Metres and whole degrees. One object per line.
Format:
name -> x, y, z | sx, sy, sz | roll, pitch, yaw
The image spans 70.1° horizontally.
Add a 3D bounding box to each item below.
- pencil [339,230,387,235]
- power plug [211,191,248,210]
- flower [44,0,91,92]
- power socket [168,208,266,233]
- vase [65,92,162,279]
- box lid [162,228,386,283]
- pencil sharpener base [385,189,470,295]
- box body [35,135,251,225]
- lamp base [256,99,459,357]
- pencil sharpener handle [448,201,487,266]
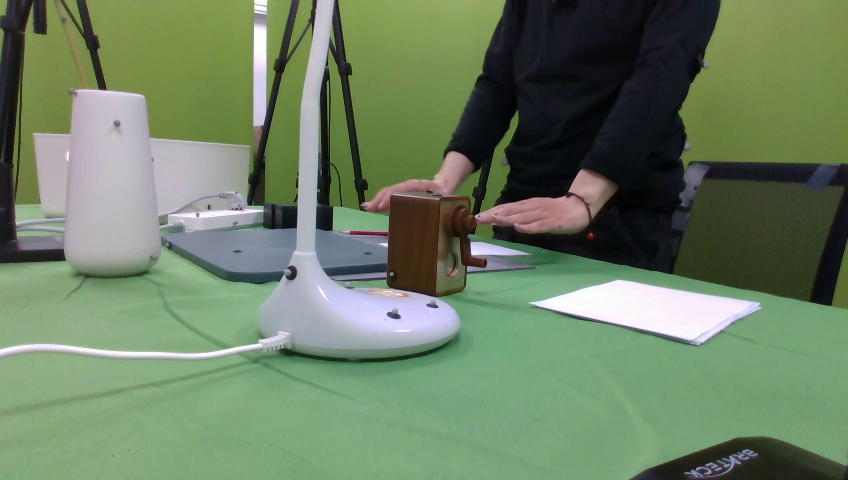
pencil -> -0.057, -0.013, 1.095 | 0.195, 0.012, 0.012 | 1, 8, -19
power plug -> -0.384, -0.071, 1.206 | 0.072, 0.052, 0.035 | 1, 8, 28
flower -> -0.361, -0.142, 0.663 | 0.044, 0.361, 0.038 | -12, 11, 30
power socket -> -0.379, -0.038, 1.129 | 0.072, 0.032, 0.227 | 4, 8, 18
vase -> -0.347, -0.060, 0.673 | 0.098, 0.200, 0.098 | 1, 7, 0
box lid -> -0.200, 0.014, 0.861 | 0.265, 0.015, 0.369 | -4, 9, -35
pencil sharpener base -> 0.006, 0.001, 0.653 | 0.076, 0.107, 0.061 | 8, 9, 37
box body -> -0.559, -0.127, 1.257 | 0.253, 0.160, 0.365 | 4, 8, 15
lamp base -> -0.055, -0.013, 0.463 | 0.160, 0.180, 0.180 | 6, 11, 27
pencil sharpener handle -> 0.049, -0.006, 0.623 | 0.030, 0.068, 0.036 | 8, 22, 37
